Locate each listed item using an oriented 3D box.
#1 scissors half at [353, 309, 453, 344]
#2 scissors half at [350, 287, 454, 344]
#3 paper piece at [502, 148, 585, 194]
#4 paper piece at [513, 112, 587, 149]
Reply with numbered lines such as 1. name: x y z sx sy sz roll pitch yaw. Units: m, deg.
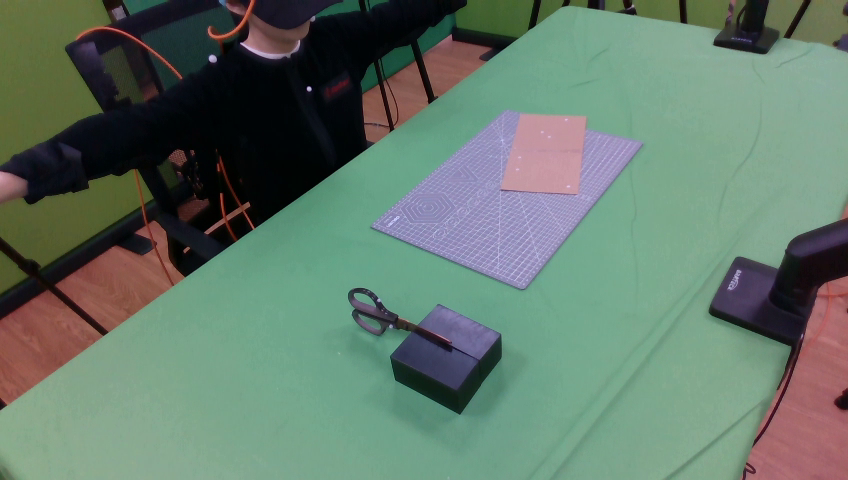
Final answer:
1. scissors half: -0.030 0.119 0.806 0.174 0.040 0.013 6 34 40
2. scissors half: -0.032 0.101 0.796 0.174 0.040 0.013 23 39 30
3. paper piece: 0.219 -0.128 1.101 0.135 0.009 0.138 2 42 17
4. paper piece: 0.252 -0.215 1.196 0.135 0.004 0.135 6 42 14
